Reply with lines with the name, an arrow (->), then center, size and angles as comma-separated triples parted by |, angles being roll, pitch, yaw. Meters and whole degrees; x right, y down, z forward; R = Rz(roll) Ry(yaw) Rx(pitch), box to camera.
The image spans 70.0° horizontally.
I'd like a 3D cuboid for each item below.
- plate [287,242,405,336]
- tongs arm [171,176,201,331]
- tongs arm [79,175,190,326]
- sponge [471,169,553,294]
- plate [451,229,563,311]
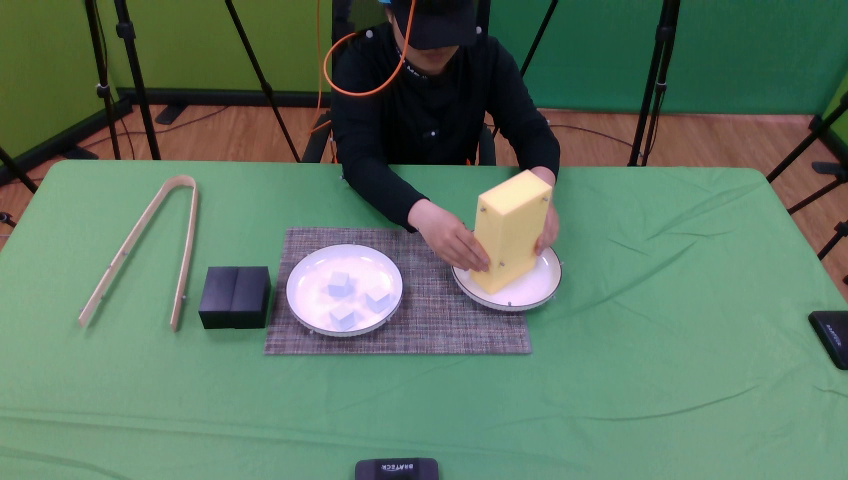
plate -> -0.138, 0.090, 1.084 | 0.208, 0.039, 0.206 | 2, 46, -2
tongs arm -> -0.453, 0.010, 1.151 | 0.028, 0.028, 0.385 | -6, 47, -6
tongs arm -> -0.534, 0.005, 1.144 | 0.051, 0.026, 0.382 | 6, 45, 1
sponge -> 0.151, -0.012, 1.073 | 0.118, 0.208, 0.060 | -31, 54, -26
plate -> 0.154, 0.054, 1.139 | 0.209, 0.038, 0.208 | 2, 47, -2
